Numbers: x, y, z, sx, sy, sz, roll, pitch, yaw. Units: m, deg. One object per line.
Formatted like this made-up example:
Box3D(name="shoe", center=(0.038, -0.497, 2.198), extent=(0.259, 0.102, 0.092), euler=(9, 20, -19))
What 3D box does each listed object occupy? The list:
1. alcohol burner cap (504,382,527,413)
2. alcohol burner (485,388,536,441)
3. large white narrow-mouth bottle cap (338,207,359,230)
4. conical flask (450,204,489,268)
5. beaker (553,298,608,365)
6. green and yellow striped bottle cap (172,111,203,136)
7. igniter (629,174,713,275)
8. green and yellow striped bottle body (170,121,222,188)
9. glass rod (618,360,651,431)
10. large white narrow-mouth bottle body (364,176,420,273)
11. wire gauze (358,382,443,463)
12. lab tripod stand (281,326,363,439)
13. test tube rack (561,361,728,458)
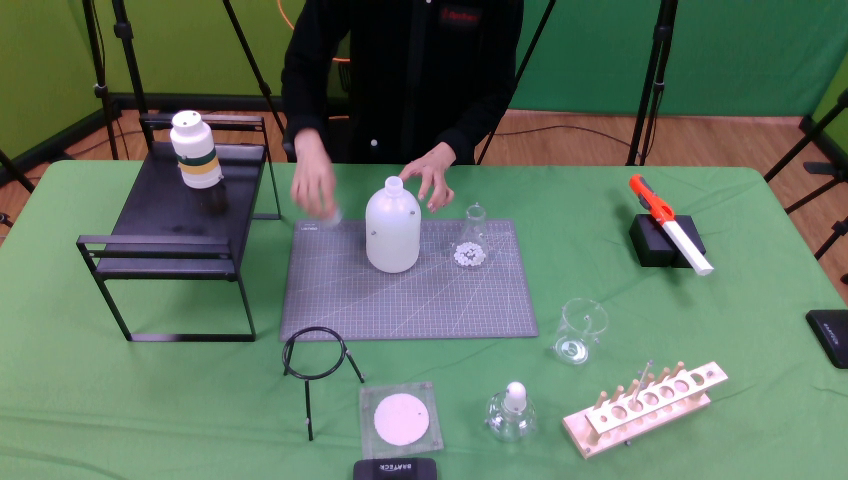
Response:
Box3D(name="alcohol burner cap", center=(0.133, 0.225, 0.877), extent=(0.034, 0.048, 0.033), euler=(-4, 47, 5))
Box3D(name="alcohol burner", center=(0.131, 0.249, 0.904), extent=(0.078, 0.120, 0.077), euler=(1, 48, -1))
Box3D(name="large white narrow-mouth bottle cap", center=(-0.131, -0.038, 1.053), extent=(0.038, 0.024, 0.037), euler=(4, 46, -4))
Box3D(name="conical flask", center=(0.091, -0.010, 1.141), extent=(0.075, 0.122, 0.075), euler=(2, 46, -2))
Box3D(name="beaker", center=(0.260, 0.154, 1.015), extent=(0.073, 0.101, 0.084), euler=(37, 54, 27))
Box3D(name="green and yellow striped bottle cap", center=(-0.374, -0.185, 0.957), extent=(0.045, 0.020, 0.045), euler=(3, 45, -3))
Box3D(name="igniter", center=(0.481, -0.040, 1.202), extent=(0.057, 0.025, 0.274), euler=(-2, 46, -21))
Box3D(name="green and yellow striped bottle body", center=(-0.375, -0.149, 0.995), extent=(0.063, 0.120, 0.063), euler=(2, 46, -2))
Box3D(name="glass rod", center=(0.298, 0.226, 0.865), extent=(0.008, 0.201, 0.008), euler=(-1, 48, 2))
Box3D(name="large white narrow-mouth bottle body", center=(-0.058, -0.035, 1.104), extent=(0.102, 0.195, 0.101), euler=(3, 47, -3))
Box3D(name="wire gauze", center=(-0.039, 0.277, 0.937), extent=(0.121, 0.011, 0.124), euler=(-4, 47, -7))
Box3D(name="lab tripod stand", center=(-0.166, 0.203, 0.913), extent=(0.148, 0.132, 0.147), euler=(1, 47, -1))
Box3D(name="test tube rack", center=(0.341, 0.248, 0.940), extent=(0.243, 0.085, 0.066), euler=(-15, 49, -18))
